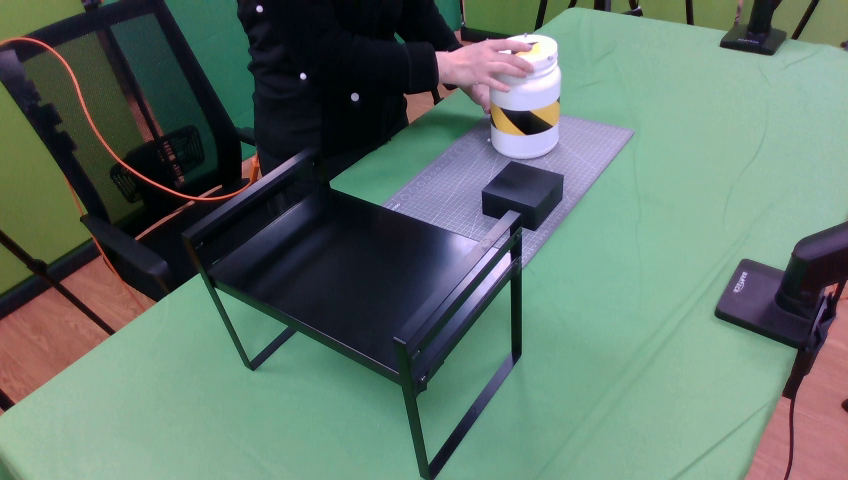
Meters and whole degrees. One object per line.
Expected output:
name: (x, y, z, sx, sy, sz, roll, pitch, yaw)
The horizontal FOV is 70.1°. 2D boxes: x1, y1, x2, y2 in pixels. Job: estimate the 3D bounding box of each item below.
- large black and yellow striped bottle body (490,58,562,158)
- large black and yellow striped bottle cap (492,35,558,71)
large black and yellow striped bottle body: (0.189, -0.262, 1.124, 0.131, 0.185, 0.130, -5, 41, 5)
large black and yellow striped bottle cap: (0.178, -0.331, 1.065, 0.115, 0.019, 0.114, -5, 40, 5)
